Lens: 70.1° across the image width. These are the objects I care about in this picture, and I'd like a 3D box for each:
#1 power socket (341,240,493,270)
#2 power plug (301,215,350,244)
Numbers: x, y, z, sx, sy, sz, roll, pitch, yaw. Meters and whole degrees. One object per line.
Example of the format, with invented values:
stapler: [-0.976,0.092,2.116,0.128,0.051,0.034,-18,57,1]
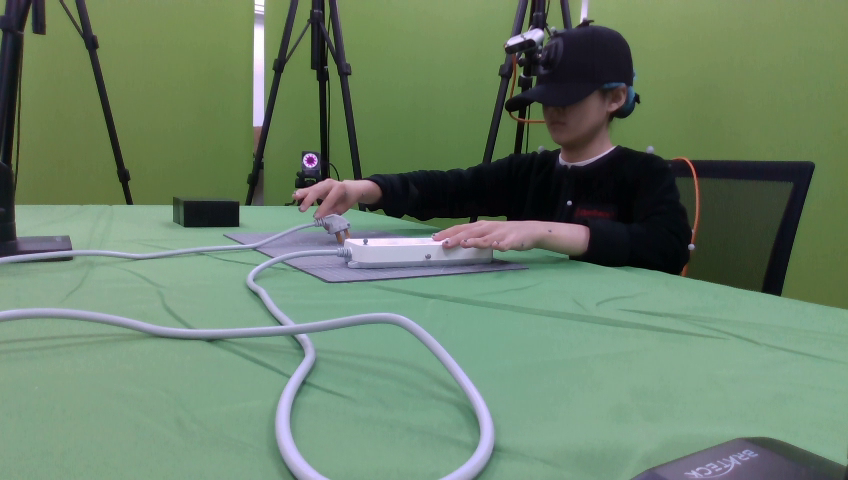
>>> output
power socket: [-0.006,0.018,0.831,0.228,0.032,0.072,-1,7,-29]
power plug: [-0.156,-0.012,0.979,0.072,0.052,0.035,-19,2,-4]
